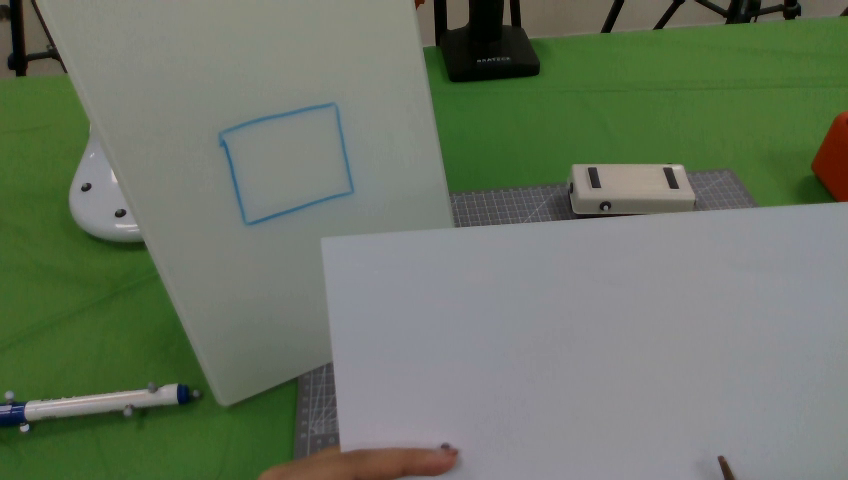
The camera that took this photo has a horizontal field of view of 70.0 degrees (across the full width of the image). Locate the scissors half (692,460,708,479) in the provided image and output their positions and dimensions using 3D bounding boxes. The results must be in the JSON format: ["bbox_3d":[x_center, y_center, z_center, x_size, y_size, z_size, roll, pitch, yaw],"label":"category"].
[{"bbox_3d":[0.160,0.173,0.274,0.013,0.175,0.040,-28,8,4],"label":"scissors half"}]

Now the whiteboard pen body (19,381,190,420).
[{"bbox_3d":[-0.250,0.122,0.455,0.141,0.017,0.017,-5,45,-9],"label":"whiteboard pen body"}]

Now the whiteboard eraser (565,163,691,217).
[{"bbox_3d":[0.198,-0.048,0.595,0.113,0.042,0.055,0,44,2],"label":"whiteboard eraser"}]

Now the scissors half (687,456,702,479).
[{"bbox_3d":[0.156,0.173,0.254,0.013,0.040,0.174,-29,76,9],"label":"scissors half"}]

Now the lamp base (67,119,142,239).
[{"bbox_3d":[-0.297,-0.118,0.582,0.178,0.182,0.160,25,51,27],"label":"lamp base"}]

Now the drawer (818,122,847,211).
[{"bbox_3d":[0.507,-0.027,0.543,0.194,0.074,0.209,-3,45,-1],"label":"drawer"}]

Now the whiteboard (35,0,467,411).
[{"bbox_3d":[-0.112,-0.064,0.477,0.217,0.308,0.142,-21,29,-17],"label":"whiteboard"}]

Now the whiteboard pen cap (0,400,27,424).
[{"bbox_3d":[-0.309,0.127,0.447,0.033,0.018,0.018,-4,45,-11],"label":"whiteboard pen cap"}]

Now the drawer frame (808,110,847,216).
[{"bbox_3d":[0.506,-0.033,0.547,0.202,0.083,0.211,-5,45,-2],"label":"drawer frame"}]
